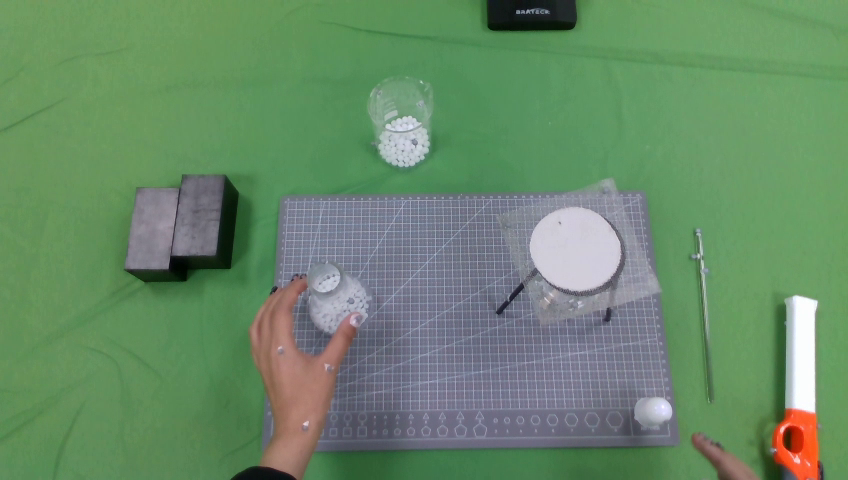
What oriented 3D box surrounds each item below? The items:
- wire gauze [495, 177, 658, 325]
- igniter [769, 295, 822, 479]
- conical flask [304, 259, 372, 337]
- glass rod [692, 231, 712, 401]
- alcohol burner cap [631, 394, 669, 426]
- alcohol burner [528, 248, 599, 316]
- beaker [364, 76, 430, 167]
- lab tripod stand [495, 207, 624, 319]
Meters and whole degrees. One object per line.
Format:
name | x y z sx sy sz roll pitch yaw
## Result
wire gauze | 0.146 0.010 0.584 0.125 0.011 0.120 -17 73 -4
igniter | 0.400 0.194 0.651 0.057 0.025 0.275 14 72 -6
conical flask | -0.097 0.056 0.646 0.075 0.122 0.075 0 71 1
glass rod | 0.319 0.083 0.698 0.008 0.008 0.198 4 71 1
alcohol burner cap | 0.243 0.180 0.646 0.034 0.048 0.033 0 72 0
alcohol burner | 0.155 0.041 0.655 0.078 0.120 0.077 1 71 -1
beaker | -0.027 -0.139 0.727 0.084 0.101 0.073 -40 76 -13
lab tripod stand | 0.148 0.033 0.647 0.148 0.132 0.147 0 73 1
